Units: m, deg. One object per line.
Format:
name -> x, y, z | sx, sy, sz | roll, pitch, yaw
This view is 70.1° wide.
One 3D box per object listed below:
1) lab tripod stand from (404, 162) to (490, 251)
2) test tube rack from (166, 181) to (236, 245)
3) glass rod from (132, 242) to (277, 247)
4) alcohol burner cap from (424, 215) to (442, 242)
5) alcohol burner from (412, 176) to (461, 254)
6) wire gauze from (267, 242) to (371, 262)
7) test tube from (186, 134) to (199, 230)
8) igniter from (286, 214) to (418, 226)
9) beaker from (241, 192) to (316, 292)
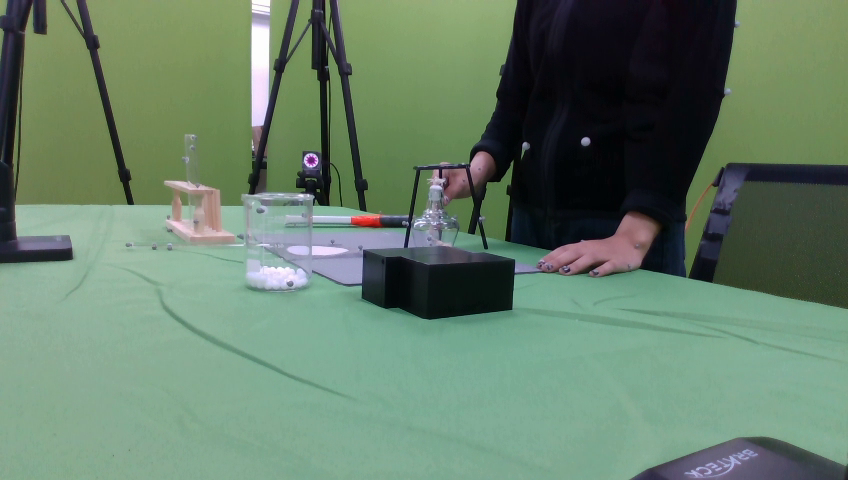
lab tripod stand -> 0.029, -0.054, 0.932 | 0.148, 0.131, 0.148 | -2, 9, 1
test tube rack -> -0.383, -0.051, 1.024 | 0.067, 0.085, 0.241 | -2, 9, -31
glass rod -> -0.316, 0.007, 0.885 | 0.201, 0.008, 0.008 | 0, 7, -27
alcohol burner cap -> 0.017, -0.022, 1.098 | 0.034, 0.048, 0.034 | 2, 9, 0
alcohol burner -> 0.018, -0.040, 0.931 | 0.078, 0.119, 0.078 | 0, 7, 0
wire gauze -> -0.155, 0.013, 0.877 | 0.122, 0.011, 0.124 | -3, 10, -29
test tube -> -0.360, -0.089, 0.946 | 0.017, 0.150, 0.017 | 0, 10, 0
igniter -> -0.145, -0.043, 1.263 | 0.278, 0.025, 0.057 | -1, -2, -24
beaker -> -0.157, 0.000, 0.642 | 0.084, 0.100, 0.074 | 4, 7, 19
